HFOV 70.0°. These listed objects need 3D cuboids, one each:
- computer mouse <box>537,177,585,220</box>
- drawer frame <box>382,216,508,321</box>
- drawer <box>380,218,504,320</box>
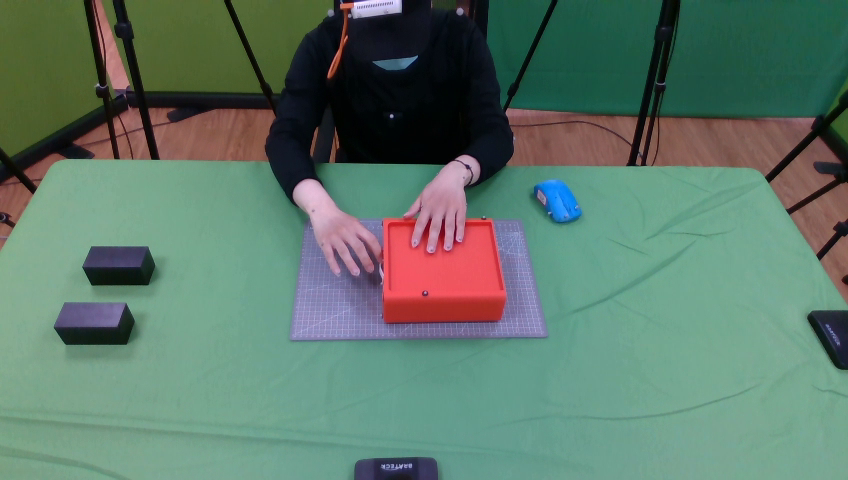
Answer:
[{"bbox_3d":[0.291,-0.093,1.288,0.063,0.041,0.116,-13,53,-18],"label":"computer mouse"},{"bbox_3d":[0.029,0.049,1.102,0.214,0.083,0.200,0,46,-5],"label":"drawer frame"},{"bbox_3d":[0.027,0.049,1.102,0.212,0.073,0.193,0,46,-3],"label":"drawer"}]
